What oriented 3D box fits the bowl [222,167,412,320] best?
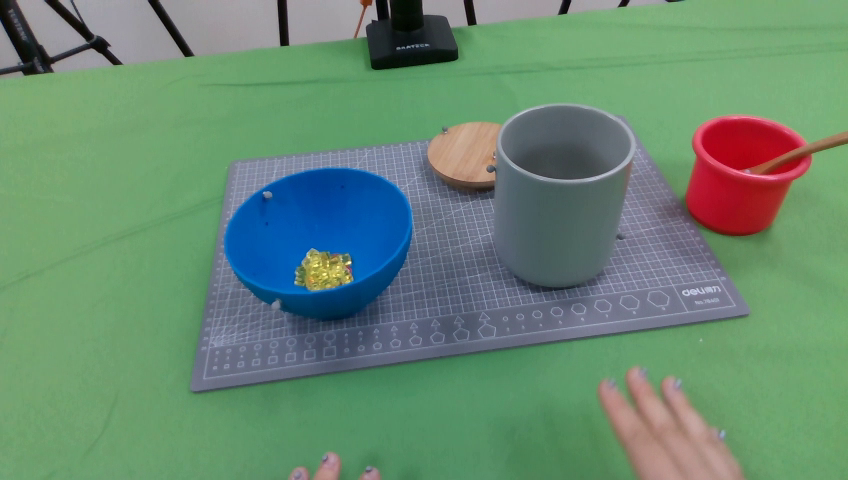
[{"bbox_3d":[-0.082,0.014,0.509,0.151,0.077,0.150,-2,45,2],"label":"bowl"}]

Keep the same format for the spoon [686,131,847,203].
[{"bbox_3d":[0.320,-0.070,0.522,0.022,0.193,0.041,48,50,-14],"label":"spoon"}]

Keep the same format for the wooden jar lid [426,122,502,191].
[{"bbox_3d":[0.057,-0.088,0.645,0.108,0.021,0.107,-2,43,3],"label":"wooden jar lid"}]

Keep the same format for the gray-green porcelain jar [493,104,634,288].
[{"bbox_3d":[0.110,-0.031,0.506,0.106,0.128,0.105,-2,44,3],"label":"gray-green porcelain jar"}]
